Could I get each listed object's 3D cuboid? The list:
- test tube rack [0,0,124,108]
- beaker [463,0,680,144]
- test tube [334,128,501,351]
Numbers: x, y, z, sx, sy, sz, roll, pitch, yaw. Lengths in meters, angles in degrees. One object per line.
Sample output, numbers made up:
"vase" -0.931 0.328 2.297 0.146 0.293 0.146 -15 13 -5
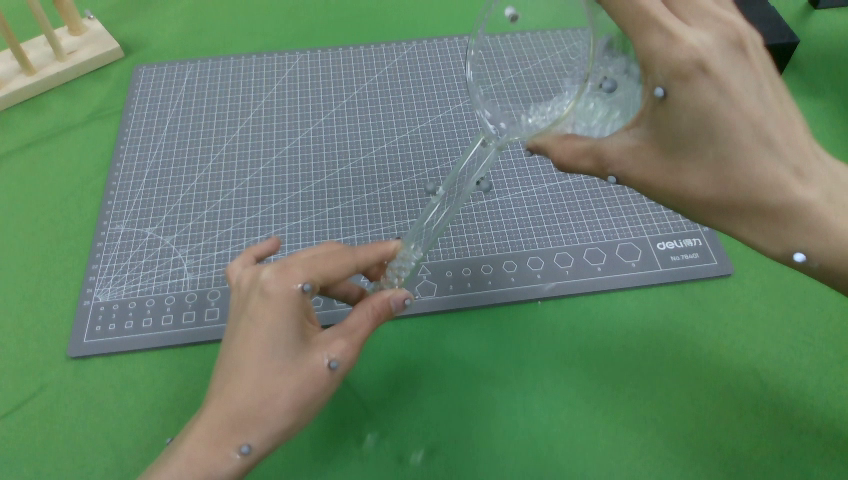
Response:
"test tube rack" -0.398 -0.157 0.510 0.242 0.086 0.066 -34 61 -21
"beaker" 0.079 -0.086 0.315 0.101 0.084 0.073 -5 36 -43
"test tube" -0.008 0.005 0.327 0.017 0.150 0.017 31 21 -13
